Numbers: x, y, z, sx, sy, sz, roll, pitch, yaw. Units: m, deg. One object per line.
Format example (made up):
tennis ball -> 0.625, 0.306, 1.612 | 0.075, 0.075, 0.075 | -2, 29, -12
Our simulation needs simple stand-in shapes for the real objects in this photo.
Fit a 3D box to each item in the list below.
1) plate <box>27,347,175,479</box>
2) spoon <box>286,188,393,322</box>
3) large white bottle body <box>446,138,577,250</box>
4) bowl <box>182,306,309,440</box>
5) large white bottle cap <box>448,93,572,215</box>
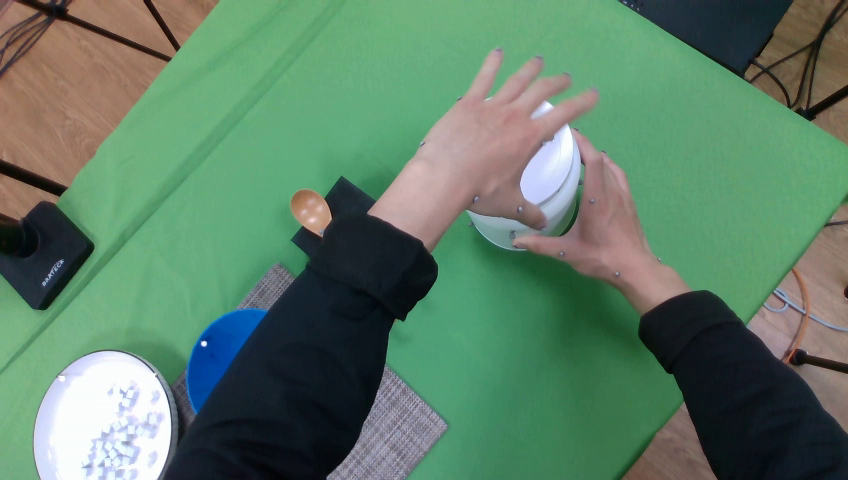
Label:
plate -> -0.405, 0.241, 0.772 | 0.208, 0.038, 0.208 | -3, 78, 13
spoon -> -0.098, 0.019, 0.712 | 0.041, 0.022, 0.193 | -36, 81, -3
large white bottle body -> 0.095, -0.066, 0.648 | 0.130, 0.185, 0.130 | -2, 80, 11
bowl -> -0.199, 0.156, 0.723 | 0.151, 0.077, 0.151 | -2, 80, 11
large white bottle cap -> 0.079, -0.080, 0.565 | 0.114, 0.018, 0.114 | -2, 80, 11
